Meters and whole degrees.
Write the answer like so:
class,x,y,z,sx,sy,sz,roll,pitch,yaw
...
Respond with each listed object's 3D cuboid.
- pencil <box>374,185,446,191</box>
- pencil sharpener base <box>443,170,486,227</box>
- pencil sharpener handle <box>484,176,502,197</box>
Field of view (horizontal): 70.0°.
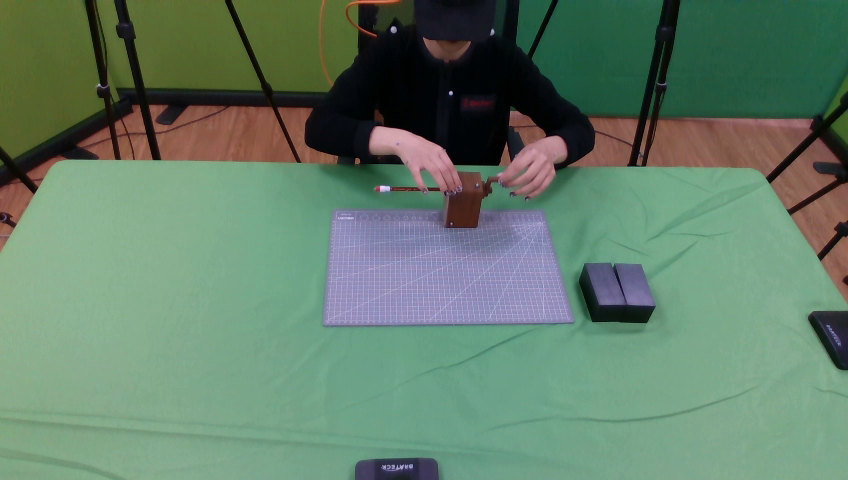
class,x,y,z,sx,sy,sz,roll,pitch,yaw
pencil,-0.001,-0.101,1.196,0.194,0.012,0.012,0,46,-4
pencil sharpener base,0.080,-0.082,1.220,0.077,0.107,0.061,0,46,-4
pencil sharpener handle,0.133,-0.106,1.189,0.031,0.068,0.036,0,70,-4
